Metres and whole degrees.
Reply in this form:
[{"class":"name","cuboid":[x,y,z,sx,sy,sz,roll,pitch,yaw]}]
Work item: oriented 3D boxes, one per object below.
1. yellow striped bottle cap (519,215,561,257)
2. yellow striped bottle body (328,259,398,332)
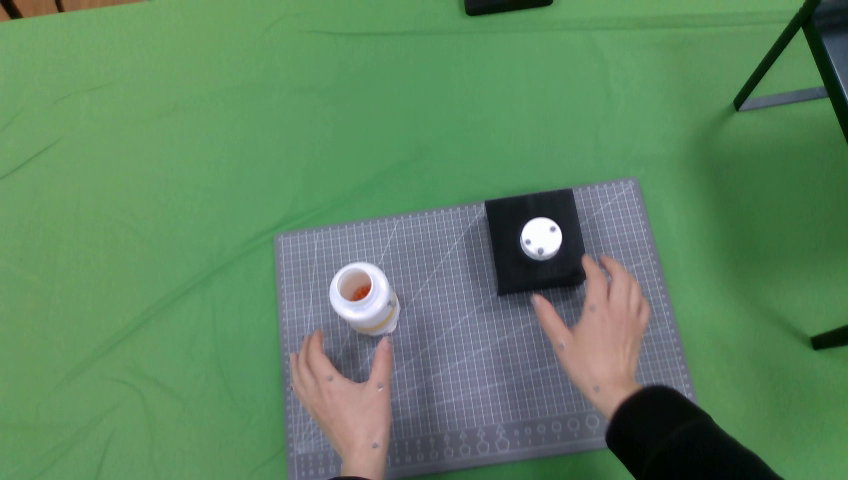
[{"class":"yellow striped bottle cap","cuboid":[0.127,-0.005,0.661,0.044,0.019,0.044,-1,75,3]},{"class":"yellow striped bottle body","cuboid":[-0.065,0.059,0.652,0.063,0.121,0.062,-1,72,4]}]
